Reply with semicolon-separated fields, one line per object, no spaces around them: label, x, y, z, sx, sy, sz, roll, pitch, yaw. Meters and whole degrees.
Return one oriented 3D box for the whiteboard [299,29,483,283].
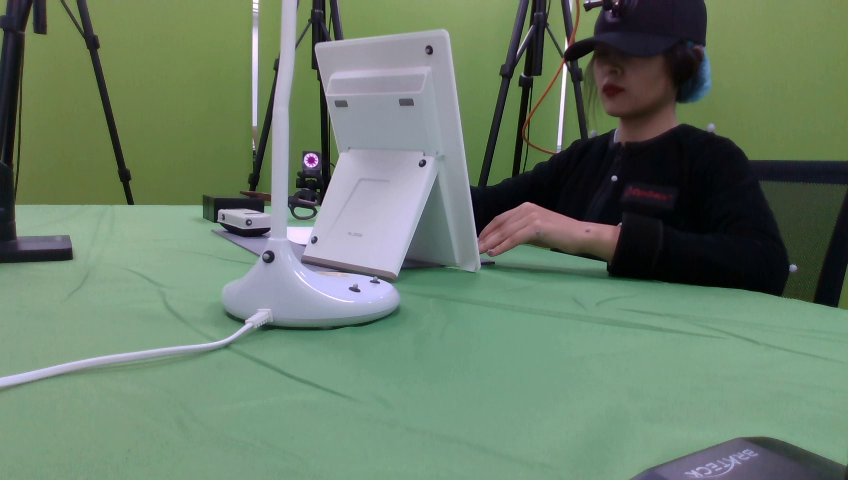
whiteboard;-0.074;-0.082;0.742;0.216;0.305;0.144;9;29;38

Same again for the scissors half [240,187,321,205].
scissors half;-0.311;-0.097;1.319;0.176;0.040;0.012;-1;30;-25

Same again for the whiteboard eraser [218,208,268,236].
whiteboard eraser;-0.309;-0.031;1.044;0.056;0.042;0.112;-2;9;-40

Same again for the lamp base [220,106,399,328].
lamp base;-0.101;-0.023;0.531;0.160;0.180;0.179;4;10;10

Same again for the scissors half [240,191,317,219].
scissors half;-0.317;-0.079;1.326;0.176;0.040;0.013;18;16;-31

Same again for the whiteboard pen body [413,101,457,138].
whiteboard pen body;0.016;-0.174;0.874;0.017;0.017;0.141;6;-7;26

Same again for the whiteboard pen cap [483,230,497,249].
whiteboard pen cap;0.093;-0.001;0.865;0.018;0.018;0.033;2;29;-5
